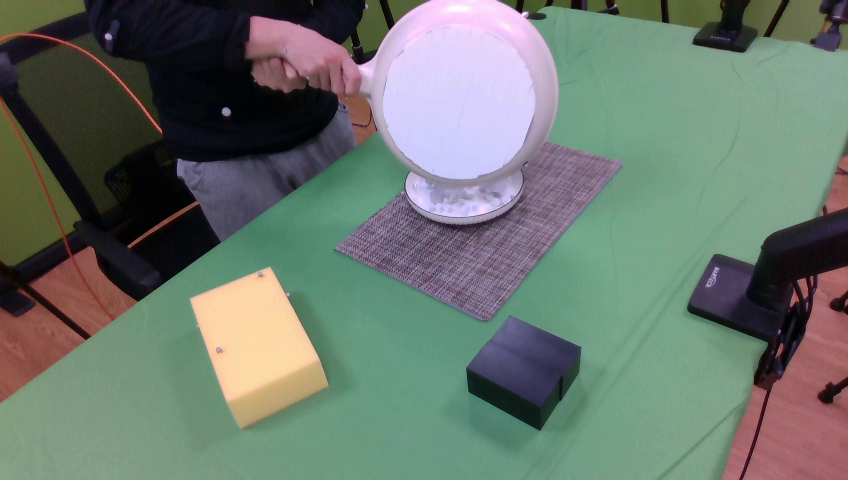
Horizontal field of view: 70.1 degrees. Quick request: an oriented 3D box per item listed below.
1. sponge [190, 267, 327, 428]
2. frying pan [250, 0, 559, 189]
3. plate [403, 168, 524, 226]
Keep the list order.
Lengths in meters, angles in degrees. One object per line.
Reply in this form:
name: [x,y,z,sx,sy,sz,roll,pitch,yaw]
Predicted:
sponge: [-0.226,0.135,0.814,0.119,0.061,0.205,-23,43,-19]
frying pan: [-0.044,-0.234,0.926,0.486,0.307,0.103,15,26,12]
plate: [0.069,-0.089,1.044,0.207,0.039,0.206,-4,41,4]
